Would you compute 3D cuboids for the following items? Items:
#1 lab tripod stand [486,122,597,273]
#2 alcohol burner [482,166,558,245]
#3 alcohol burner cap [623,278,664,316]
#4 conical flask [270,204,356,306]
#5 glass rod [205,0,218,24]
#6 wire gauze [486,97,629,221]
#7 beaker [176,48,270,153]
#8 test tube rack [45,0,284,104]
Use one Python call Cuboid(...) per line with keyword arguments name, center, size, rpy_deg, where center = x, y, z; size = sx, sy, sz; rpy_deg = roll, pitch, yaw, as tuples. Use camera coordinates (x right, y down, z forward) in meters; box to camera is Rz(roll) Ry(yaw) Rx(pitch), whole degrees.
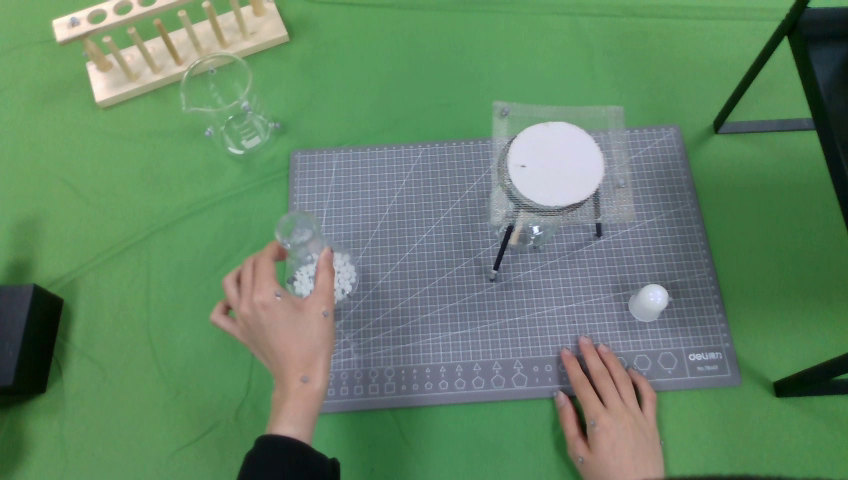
Cuboid(name="lab tripod stand", center=(0.111, -0.044, 0.597), size=(0.148, 0.132, 0.147), rpy_deg=(0, 66, 1))
Cuboid(name="alcohol burner", center=(0.098, -0.041, 0.607), size=(0.078, 0.120, 0.077), rpy_deg=(0, 67, 0))
Cuboid(name="alcohol burner cap", center=(0.221, 0.054, 0.604), size=(0.034, 0.048, 0.033), rpy_deg=(-1, 69, 2))
Cuboid(name="conical flask", center=(-0.109, 0.010, 0.564), size=(0.075, 0.123, 0.075), rpy_deg=(-1, 66, 2))
Cuboid(name="glass rod", center=(-0.258, -0.314, 0.674), size=(0.008, 0.201, 0.008), rpy_deg=(1, 66, -2))
Cuboid(name="wire gauze", center=(0.116, -0.074, 0.536), size=(0.121, 0.011, 0.124), rpy_deg=(2, 69, 1))
Cuboid(name="beaker", center=(-0.219, -0.147, 0.670), size=(0.073, 0.101, 0.084), rpy_deg=(42, 75, 17))
Cuboid(name="test tube rack", center=(-0.301, -0.254, 0.723), size=(0.242, 0.086, 0.066), rpy_deg=(-23, 69, -7))
